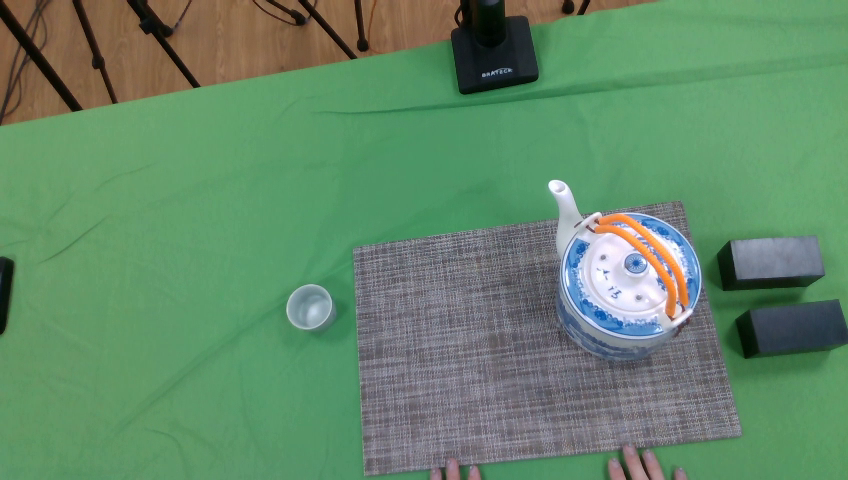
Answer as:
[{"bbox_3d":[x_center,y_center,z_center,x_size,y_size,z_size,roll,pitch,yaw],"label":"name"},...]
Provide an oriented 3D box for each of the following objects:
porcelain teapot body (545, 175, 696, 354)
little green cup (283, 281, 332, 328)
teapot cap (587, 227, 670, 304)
[{"bbox_3d":[0.201,0.018,0.679,0.145,0.227,0.204,-39,69,-5],"label":"porcelain teapot body"},{"bbox_3d":[-0.153,0.089,0.811,0.061,0.039,0.061,-3,69,8],"label":"little green cup"},{"bbox_3d":[0.214,0.025,0.632,0.085,0.044,0.084,-3,68,8],"label":"teapot cap"}]
